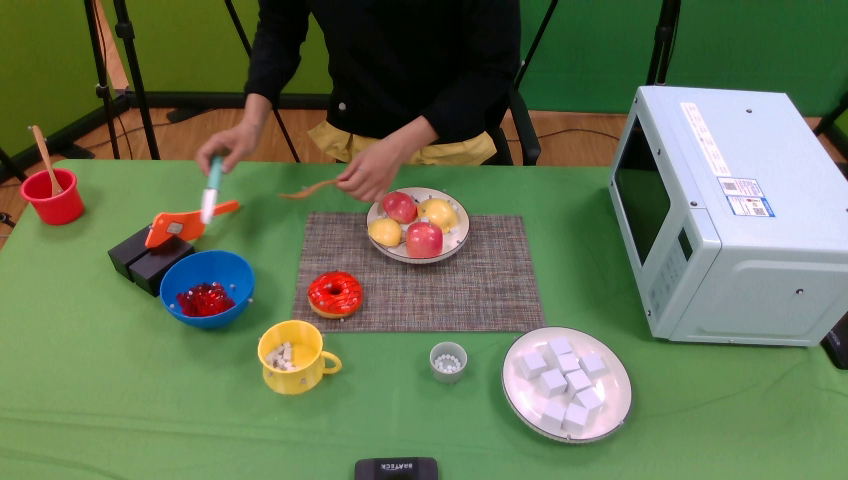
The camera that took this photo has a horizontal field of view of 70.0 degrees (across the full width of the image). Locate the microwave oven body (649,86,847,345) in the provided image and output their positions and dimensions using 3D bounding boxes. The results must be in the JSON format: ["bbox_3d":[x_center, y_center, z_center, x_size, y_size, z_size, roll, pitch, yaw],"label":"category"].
[{"bbox_3d":[0.568,-0.053,1.118,0.326,0.261,0.439,2,45,-1],"label":"microwave oven body"}]

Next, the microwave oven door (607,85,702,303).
[{"bbox_3d":[0.423,-0.094,1.140,0.039,0.245,0.353,2,46,-1],"label":"microwave oven door"}]

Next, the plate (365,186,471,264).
[{"bbox_3d":[-0.013,-0.027,1.207,0.209,0.038,0.208,2,46,-2],"label":"plate"}]

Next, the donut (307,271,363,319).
[{"bbox_3d":[-0.157,0.097,1.072,0.099,0.048,0.098,4,45,-4],"label":"donut"}]

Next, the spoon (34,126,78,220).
[{"bbox_3d":[-0.726,-0.132,1.188,0.041,0.021,0.194,-18,95,-20],"label":"spoon"}]

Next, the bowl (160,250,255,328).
[{"bbox_3d":[-0.362,0.098,1.040,0.151,0.077,0.150,2,45,-2],"label":"bowl"}]

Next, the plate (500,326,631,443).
[{"bbox_3d":[0.224,0.234,0.978,0.208,0.039,0.206,2,46,-2],"label":"plate"}]

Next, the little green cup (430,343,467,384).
[{"bbox_3d":[0.039,0.203,0.993,0.061,0.039,0.061,2,46,-2],"label":"little green cup"}]

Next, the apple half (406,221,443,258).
[{"bbox_3d":[0.001,-0.006,1.164,0.075,0.053,0.080,5,42,0],"label":"apple half"}]

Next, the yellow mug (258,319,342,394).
[{"bbox_3d":[-0.196,0.189,0.972,0.131,0.064,0.099,9,46,4],"label":"yellow mug"}]

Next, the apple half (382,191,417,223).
[{"bbox_3d":[-0.043,-0.072,1.225,0.081,0.033,0.081,18,42,-16],"label":"apple half"}]

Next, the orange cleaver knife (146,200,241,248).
[{"bbox_3d":[-0.435,-0.033,1.157,0.012,0.077,0.211,31,26,19],"label":"orange cleaver knife"}]

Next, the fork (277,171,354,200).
[{"bbox_3d":[-0.192,-0.103,1.102,0.018,0.028,0.207,38,33,21],"label":"fork"}]

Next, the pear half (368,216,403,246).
[{"bbox_3d":[-0.070,-0.026,1.183,0.070,0.031,0.087,33,45,0],"label":"pear half"}]

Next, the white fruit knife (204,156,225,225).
[{"bbox_3d":[-0.384,-0.093,1.109,0.027,0.016,0.206,-16,43,3],"label":"white fruit knife"}]

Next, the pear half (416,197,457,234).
[{"bbox_3d":[0.017,-0.066,1.226,0.076,0.056,0.109,-28,51,-31],"label":"pear half"}]

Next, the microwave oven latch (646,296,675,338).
[{"bbox_3d":[0.412,0.134,1.061,0.030,0.029,0.078,4,45,1],"label":"microwave oven latch"}]
